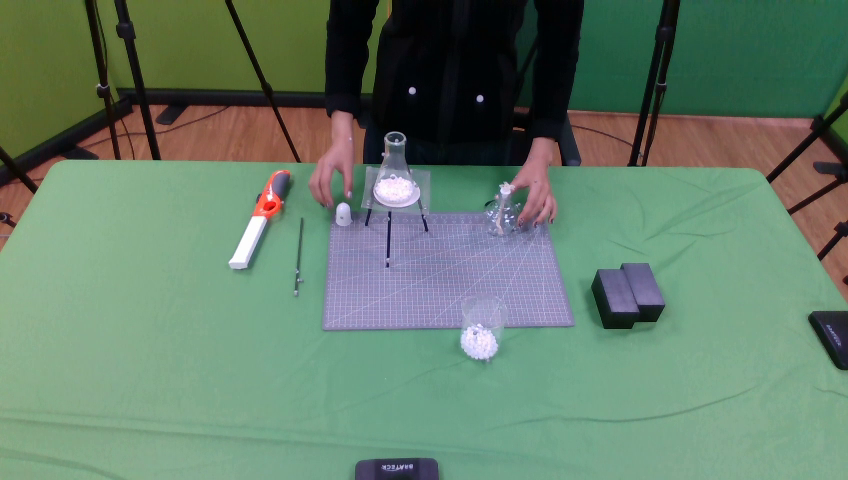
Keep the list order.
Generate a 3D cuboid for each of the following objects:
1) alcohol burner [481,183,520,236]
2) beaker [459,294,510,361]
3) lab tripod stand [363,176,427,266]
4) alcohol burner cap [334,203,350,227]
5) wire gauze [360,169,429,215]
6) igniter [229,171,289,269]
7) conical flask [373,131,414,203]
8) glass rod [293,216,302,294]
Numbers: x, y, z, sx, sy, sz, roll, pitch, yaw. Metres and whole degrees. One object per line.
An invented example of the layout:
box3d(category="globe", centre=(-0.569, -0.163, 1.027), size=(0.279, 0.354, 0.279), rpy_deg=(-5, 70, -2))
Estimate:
box3d(category="alcohol burner", centre=(0.155, -0.065, 1.209), size=(0.078, 0.119, 0.077), rpy_deg=(3, 44, -3))
box3d(category="beaker", centre=(0.095, 0.147, 1.012), size=(0.083, 0.101, 0.074), rpy_deg=(26, 49, 21))
box3d(category="lab tripod stand", centre=(-0.057, -0.047, 1.159), size=(0.148, 0.132, 0.147), rpy_deg=(3, 44, -2))
box3d(category="alcohol burner cap", centre=(-0.166, -0.054, 1.221), size=(0.034, 0.048, 0.033), rpy_deg=(2, 47, -2))
box3d(category="wire gauze", centre=(-0.052, -0.092, 1.111), size=(0.125, 0.011, 0.120), rpy_deg=(3, 43, 1))
box3d(category="igniter", centre=(-0.328, -0.049, 1.218), size=(0.057, 0.025, 0.275), rpy_deg=(1, 45, 11))
box3d(category="conical flask", centre=(-0.053, -0.131, 1.067), size=(0.075, 0.122, 0.075), rpy_deg=(2, 44, -2))
box3d(category="glass rod", centre=(-0.243, 0.024, 1.166), size=(0.008, 0.008, 0.198), rpy_deg=(-2, 47, -5))
